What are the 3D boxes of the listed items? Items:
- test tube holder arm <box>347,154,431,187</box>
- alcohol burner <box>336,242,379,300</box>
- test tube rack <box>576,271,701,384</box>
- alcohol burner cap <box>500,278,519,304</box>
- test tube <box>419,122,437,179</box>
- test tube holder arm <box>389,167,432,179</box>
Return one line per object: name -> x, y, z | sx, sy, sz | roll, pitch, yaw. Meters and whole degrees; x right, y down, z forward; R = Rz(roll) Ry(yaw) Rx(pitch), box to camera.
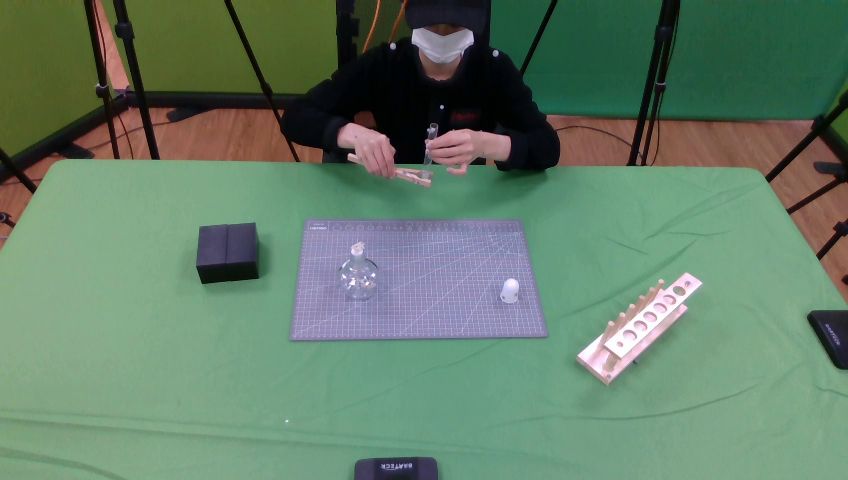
test tube holder arm -> -0.072, -0.140, 1.207 | 0.178, 0.015, 0.013 | 17, 47, 8
alcohol burner -> -0.118, 0.050, 1.072 | 0.078, 0.120, 0.077 | 2, 44, -1
test tube rack -> 0.373, 0.138, 1.047 | 0.242, 0.085, 0.066 | -31, 56, -29
alcohol burner cap -> 0.157, 0.090, 1.104 | 0.034, 0.048, 0.033 | 2, 46, -2
test tube -> 0.007, -0.163, 1.158 | 0.017, 0.151, 0.017 | 5, 50, -6
test tube holder arm -> -0.028, -0.134, 1.208 | 0.088, 0.015, 0.010 | 4, 47, -4
